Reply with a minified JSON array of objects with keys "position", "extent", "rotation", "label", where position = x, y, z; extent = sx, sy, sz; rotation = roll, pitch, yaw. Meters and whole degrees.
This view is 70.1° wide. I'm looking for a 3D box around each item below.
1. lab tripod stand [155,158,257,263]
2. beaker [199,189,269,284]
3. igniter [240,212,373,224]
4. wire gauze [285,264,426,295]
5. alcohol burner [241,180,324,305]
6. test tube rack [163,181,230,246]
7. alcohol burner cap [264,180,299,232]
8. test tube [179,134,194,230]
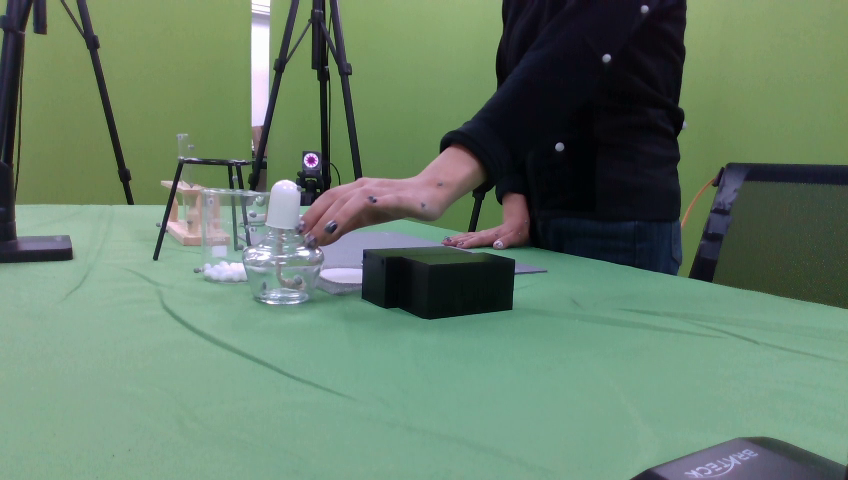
[{"position":[-0.275,-0.041,0.797],"extent":[0.148,0.131,0.148],"rotation":[2,9,0],"label":"lab tripod stand"},{"position":[-0.209,-0.006,0.676],"extent":[0.073,0.100,0.084],"rotation":[7,8,28],"label":"beaker"},{"position":[-0.237,-0.045,1.250],"extent":[0.278,0.025,0.057],"rotation":[-2,-2,-31],"label":"igniter"},{"position":[-0.079,0.039,0.692],"extent":[0.122,0.011,0.124],"rotation":[-4,11,-37],"label":"wire gauze"},{"position":[-0.136,0.002,0.583],"extent":[0.078,0.119,0.078],"rotation":[1,8,0],"label":"alcohol burner"},{"position":[-0.387,-0.050,1.015],"extent":[0.067,0.085,0.241],"rotation":[-2,9,-30],"label":"test tube rack"},{"position":[-0.134,-0.034,0.579],"extent":[0.034,0.048,0.034],"rotation":[8,10,-1],"label":"alcohol burner cap"},{"position":[-0.366,-0.089,0.938],"extent":[0.017,0.150,0.017],"rotation":[-1,9,1],"label":"test tube"}]
